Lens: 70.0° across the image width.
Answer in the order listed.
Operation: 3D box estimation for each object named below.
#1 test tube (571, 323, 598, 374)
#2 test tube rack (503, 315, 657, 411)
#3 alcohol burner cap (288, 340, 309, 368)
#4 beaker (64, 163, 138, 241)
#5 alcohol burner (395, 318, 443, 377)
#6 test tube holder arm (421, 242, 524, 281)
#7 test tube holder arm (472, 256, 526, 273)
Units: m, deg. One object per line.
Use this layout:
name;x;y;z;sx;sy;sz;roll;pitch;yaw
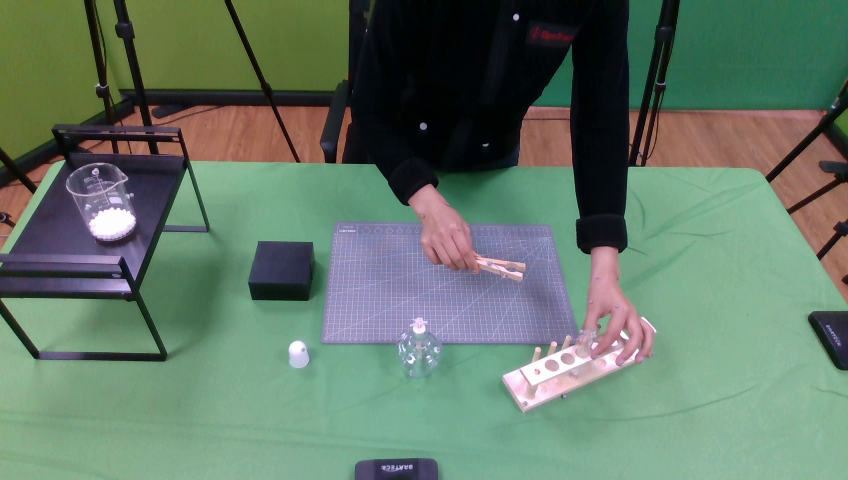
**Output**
test tube;0.246;0.170;0.935;0.017;0.151;0.017;-1;53;2
test tube rack;0.253;0.187;0.988;0.242;0.085;0.066;-18;50;-20
alcohol burner cap;-0.207;0.183;0.991;0.034;0.048;0.033;3;47;-3
beaker;-0.477;-0.054;0.910;0.084;0.101;0.073;-9;48;-13
alcohol burner;-0.009;0.167;0.971;0.078;0.120;0.077;1;46;0
test tube holder arm;0.077;0.034;0.991;0.178;0.015;0.013;16;47;18
test tube holder arm;0.121;0.040;0.983;0.088;0.015;0.010;8;45;10
